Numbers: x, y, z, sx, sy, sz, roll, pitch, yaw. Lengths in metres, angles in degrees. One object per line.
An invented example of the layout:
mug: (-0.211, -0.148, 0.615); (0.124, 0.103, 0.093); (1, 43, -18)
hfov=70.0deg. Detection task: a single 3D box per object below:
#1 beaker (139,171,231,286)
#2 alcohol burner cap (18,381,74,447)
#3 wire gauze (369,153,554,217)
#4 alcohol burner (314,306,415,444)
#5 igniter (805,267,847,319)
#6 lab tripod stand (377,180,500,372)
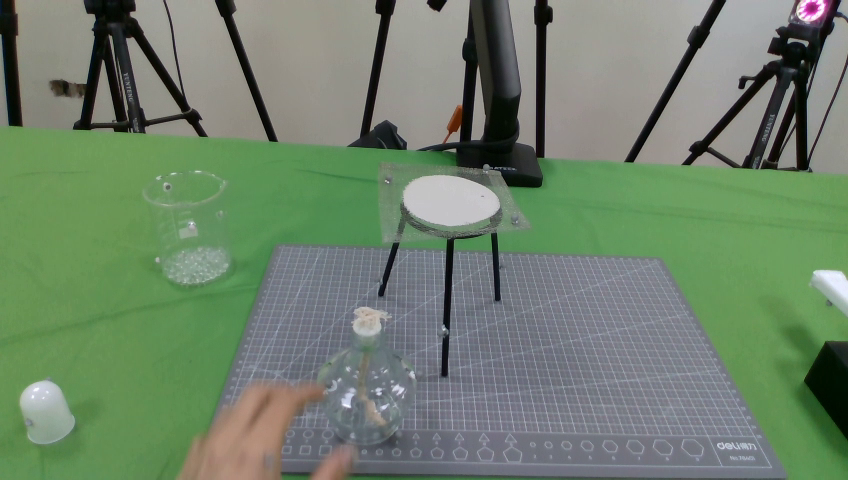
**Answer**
beaker: (-0.237, -0.011, 0.620); (0.084, 0.101, 0.073); (-24, 43, -35)
alcohol burner cap: (-0.288, 0.128, 0.457); (0.034, 0.048, 0.033); (4, 32, -2)
wire gauze: (0.029, -0.047, 0.515); (0.125, 0.011, 0.120); (-6, 30, -27)
alcohol burner: (-0.044, 0.097, 0.460); (0.078, 0.120, 0.077); (4, 33, -2)
igniter: (0.407, 0.104, 0.496); (0.057, 0.025, 0.274); (2, 30, -4)
lab tripod stand: (0.019, 0.025, 0.557); (0.148, 0.132, 0.147); (4, 35, -3)
